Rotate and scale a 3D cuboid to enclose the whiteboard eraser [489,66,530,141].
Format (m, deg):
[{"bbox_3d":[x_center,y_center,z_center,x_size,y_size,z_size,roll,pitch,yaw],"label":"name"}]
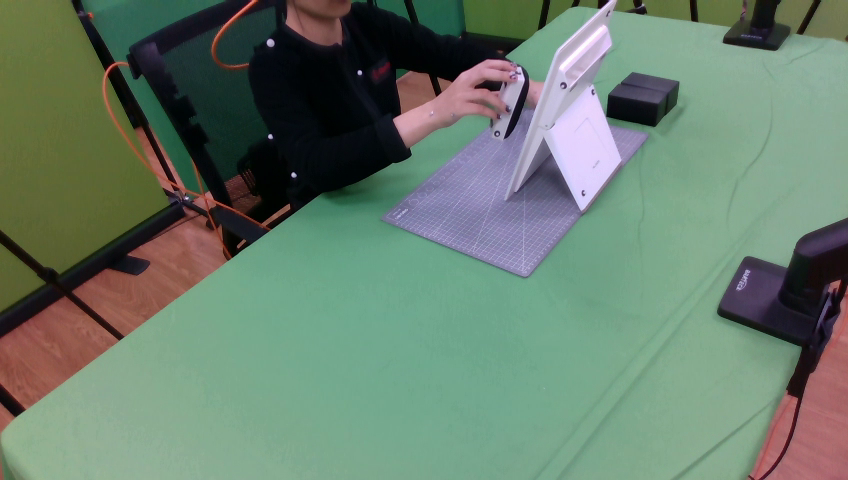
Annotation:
[{"bbox_3d":[0.141,-0.224,0.998,0.042,0.113,0.055,10,37,-11],"label":"whiteboard eraser"}]

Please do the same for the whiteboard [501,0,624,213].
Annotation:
[{"bbox_3d":[0.271,-0.189,0.977,0.143,0.306,0.218,34,53,16],"label":"whiteboard"}]
